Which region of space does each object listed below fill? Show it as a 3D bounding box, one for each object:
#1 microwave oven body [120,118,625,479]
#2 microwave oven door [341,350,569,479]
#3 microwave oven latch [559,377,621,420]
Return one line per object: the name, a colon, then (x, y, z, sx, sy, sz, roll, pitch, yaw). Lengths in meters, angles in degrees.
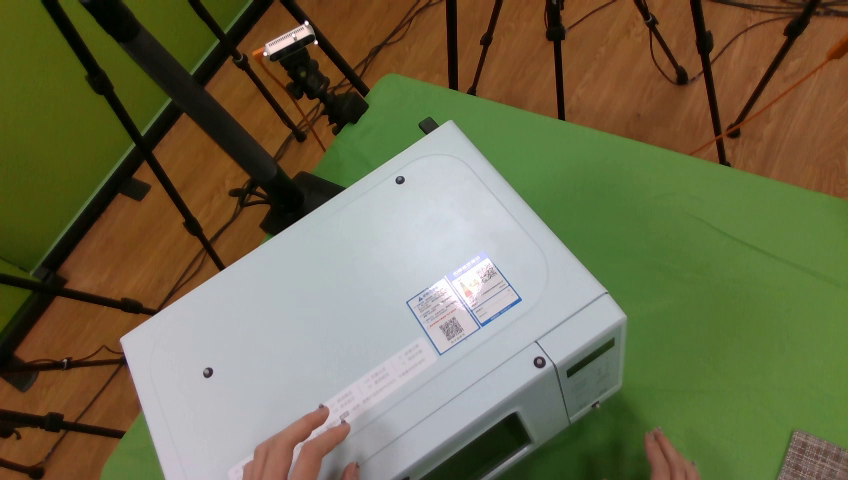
microwave oven body: (-0.050, 0.132, 0.701, 0.442, 0.263, 0.322, -34, 59, -3)
microwave oven door: (-0.013, 0.252, 0.618, 0.356, 0.246, 0.039, -34, 57, -4)
microwave oven latch: (0.195, 0.179, 0.717, 0.079, 0.030, 0.030, -33, 59, -2)
